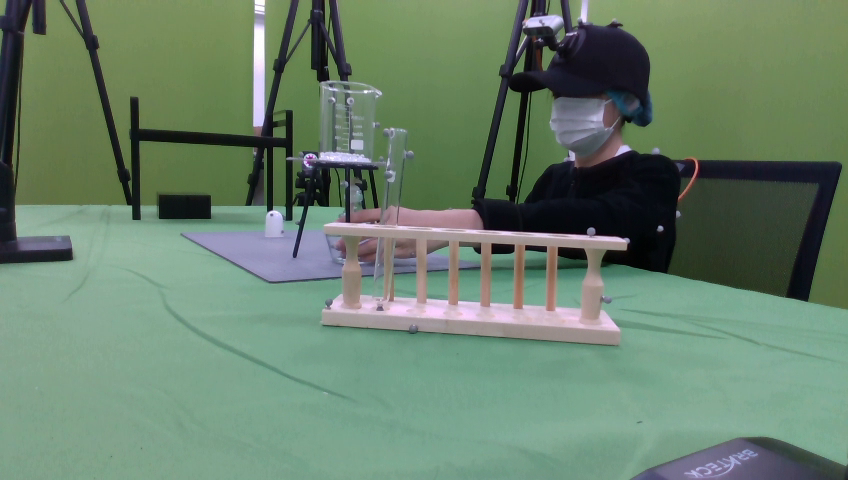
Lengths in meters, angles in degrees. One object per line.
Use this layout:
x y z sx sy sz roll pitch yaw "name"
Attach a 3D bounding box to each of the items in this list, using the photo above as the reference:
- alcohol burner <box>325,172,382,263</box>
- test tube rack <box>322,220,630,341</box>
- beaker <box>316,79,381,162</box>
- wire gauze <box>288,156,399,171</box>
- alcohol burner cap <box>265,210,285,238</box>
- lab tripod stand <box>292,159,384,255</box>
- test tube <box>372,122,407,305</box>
-0.094 -0.030 0.801 0.078 0.119 0.078 -1 5 0 "alcohol burner"
0.041 0.029 0.512 0.242 0.085 0.067 3 7 5 "test tube rack"
-0.098 -0.151 0.778 0.084 0.100 0.074 4 7 6 "beaker"
-0.101 -0.103 0.788 0.121 0.011 0.125 6 4 5 "wire gauze"
-0.253 -0.027 1.027 0.034 0.048 0.034 2 9 0 "alcohol burner cap"
-0.105 -0.039 0.797 0.148 0.131 0.148 2 5 0 "lab tripod stand"
-0.029 -0.020 0.493 0.017 0.150 0.017 6 9 -1 "test tube"
